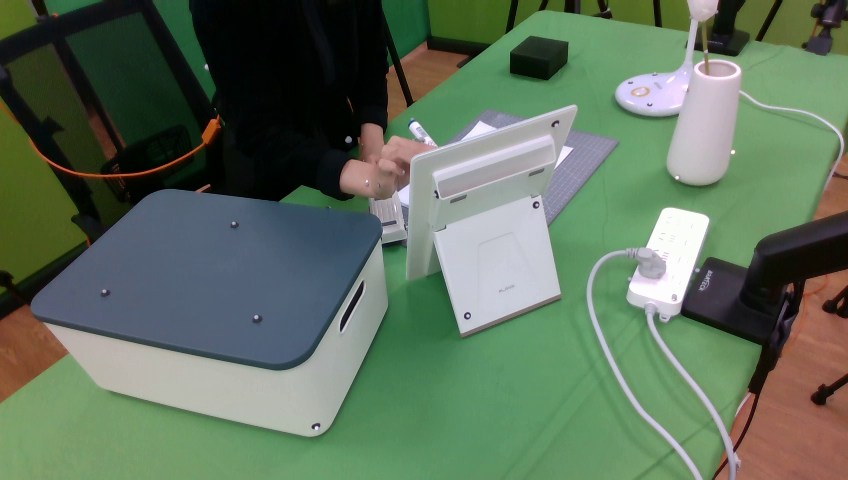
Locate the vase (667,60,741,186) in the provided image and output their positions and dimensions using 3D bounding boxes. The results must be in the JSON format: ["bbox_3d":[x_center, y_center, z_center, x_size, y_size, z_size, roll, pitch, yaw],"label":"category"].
[{"bbox_3d":[0.463,-0.189,0.994,0.098,0.201,0.097,-4,40,4],"label":"vase"}]

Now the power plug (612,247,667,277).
[{"bbox_3d":[0.306,0.031,0.852,0.072,0.053,0.035,21,48,37],"label":"power plug"}]

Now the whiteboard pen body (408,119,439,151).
[{"bbox_3d":[0.019,-0.114,0.805,0.017,0.017,0.139,-25,59,-20],"label":"whiteboard pen body"}]

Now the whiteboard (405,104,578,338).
[{"bbox_3d":[0.102,0.003,0.787,0.218,0.306,0.143,-19,62,-14],"label":"whiteboard"}]

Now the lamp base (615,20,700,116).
[{"bbox_3d":[0.484,-0.364,1.211,0.180,0.181,0.159,-15,41,-14],"label":"lamp base"}]

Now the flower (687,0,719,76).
[{"bbox_3d":[0.436,-0.242,0.934,0.038,0.364,0.043,-24,49,8],"label":"flower"}]

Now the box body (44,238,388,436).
[{"bbox_3d":[-0.251,0.088,0.799,0.362,0.161,0.254,7,42,16],"label":"box body"}]

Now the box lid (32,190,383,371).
[{"bbox_3d":[-0.257,0.032,0.750,0.370,0.015,0.263,7,41,16],"label":"box lid"}]

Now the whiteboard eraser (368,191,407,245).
[{"bbox_3d":[-0.061,-0.035,1.006,0.056,0.042,0.112,-9,40,-3],"label":"whiteboard eraser"}]

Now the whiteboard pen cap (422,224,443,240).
[{"bbox_3d":[0.013,-0.013,0.988,0.033,0.018,0.018,-31,46,-21],"label":"whiteboard pen cap"}]

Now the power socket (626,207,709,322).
[{"bbox_3d":[0.360,0.026,0.886,0.072,0.033,0.227,17,46,27],"label":"power socket"}]
